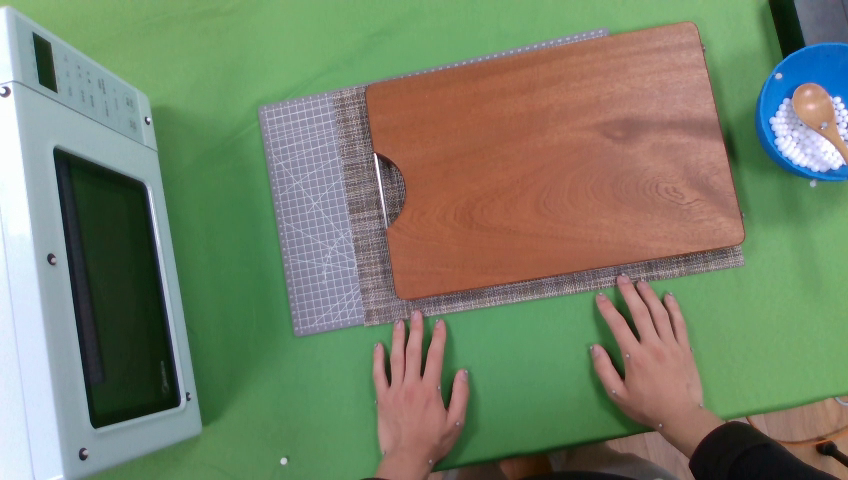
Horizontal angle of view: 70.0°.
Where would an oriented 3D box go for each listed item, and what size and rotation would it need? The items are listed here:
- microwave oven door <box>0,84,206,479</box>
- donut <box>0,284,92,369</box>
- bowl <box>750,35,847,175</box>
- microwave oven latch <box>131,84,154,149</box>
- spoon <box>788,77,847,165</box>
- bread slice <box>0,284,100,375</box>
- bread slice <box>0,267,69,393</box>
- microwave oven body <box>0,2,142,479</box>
[{"bbox_3d":[-0.329,0.047,0.633,0.039,0.244,0.354,-14,82,5],"label":"microwave oven door"},{"bbox_3d":[-0.426,0.096,0.679,0.099,0.048,0.099,-1,100,-8],"label":"donut"},{"bbox_3d":[0.430,-0.138,0.670,0.151,0.077,0.151,-1,84,7],"label":"bowl"},{"bbox_3d":[-0.363,-0.153,0.761,0.030,0.029,0.079,-13,83,4],"label":"microwave oven latch"},{"bbox_3d":[0.437,-0.095,0.634,0.041,0.022,0.192,-12,60,2],"label":"spoon"},{"bbox_3d":[-0.455,0.110,0.713,0.132,0.019,0.105,-5,92,-6],"label":"bread slice"},{"bbox_3d":[-0.435,0.106,0.630,0.134,0.018,0.106,-30,84,16],"label":"bread slice"},{"bbox_3d":[-0.480,0.041,0.655,0.326,0.261,0.440,-13,83,4],"label":"microwave oven body"}]
